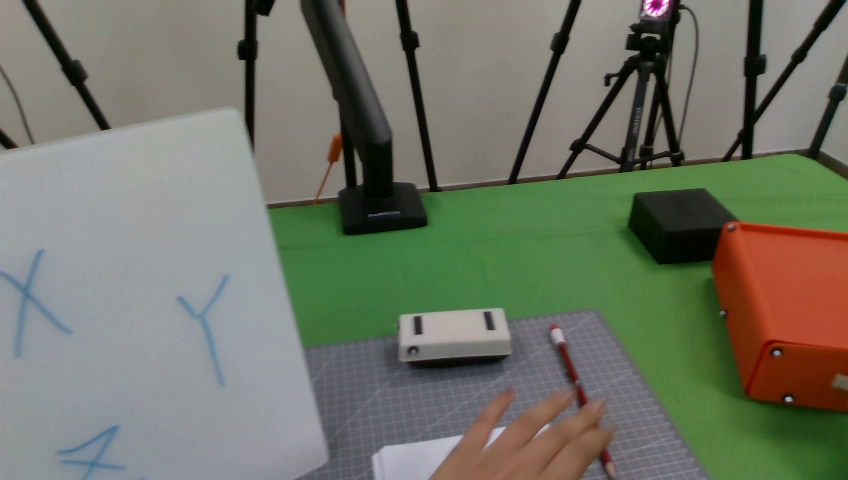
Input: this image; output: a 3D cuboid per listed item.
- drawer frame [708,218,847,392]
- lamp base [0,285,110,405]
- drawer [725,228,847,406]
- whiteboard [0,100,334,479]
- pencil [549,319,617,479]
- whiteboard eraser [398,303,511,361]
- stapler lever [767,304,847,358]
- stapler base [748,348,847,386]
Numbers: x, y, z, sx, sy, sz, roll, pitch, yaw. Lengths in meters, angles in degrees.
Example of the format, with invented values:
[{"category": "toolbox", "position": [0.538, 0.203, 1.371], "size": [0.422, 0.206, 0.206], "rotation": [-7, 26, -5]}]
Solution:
[{"category": "drawer frame", "position": [0.420, 0.070, 0.623], "size": [0.201, 0.083, 0.212], "rotation": [5, 33, 10]}, {"category": "lamp base", "position": [-0.422, 0.041, 0.584], "size": [0.178, 0.182, 0.160], "rotation": [16, 36, 27]}, {"category": "drawer", "position": [0.420, 0.074, 0.620], "size": [0.194, 0.074, 0.210], "rotation": [5, 33, 10]}, {"category": "whiteboard", "position": [-0.228, 0.064, 0.485], "size": [0.218, 0.307, 0.142], "rotation": [-19, 18, -25]}, {"category": "pencil", "position": [0.149, 0.142, 0.577], "size": [0.012, 0.012, 0.192], "rotation": [-3, 35, -4]}, {"category": "whiteboard eraser", "position": [0.030, 0.095, 0.620], "size": [0.113, 0.042, 0.055], "rotation": [-3, 34, -4]}, {"category": "stapler lever", "position": [0.397, 0.093, 0.586], "size": [0.117, 0.040, 0.026], "rotation": [11, 31, 13]}, {"category": "stapler base", "position": [0.396, 0.121, 0.600], "size": [0.130, 0.024, 0.041], "rotation": [5, 28, 17]}]
